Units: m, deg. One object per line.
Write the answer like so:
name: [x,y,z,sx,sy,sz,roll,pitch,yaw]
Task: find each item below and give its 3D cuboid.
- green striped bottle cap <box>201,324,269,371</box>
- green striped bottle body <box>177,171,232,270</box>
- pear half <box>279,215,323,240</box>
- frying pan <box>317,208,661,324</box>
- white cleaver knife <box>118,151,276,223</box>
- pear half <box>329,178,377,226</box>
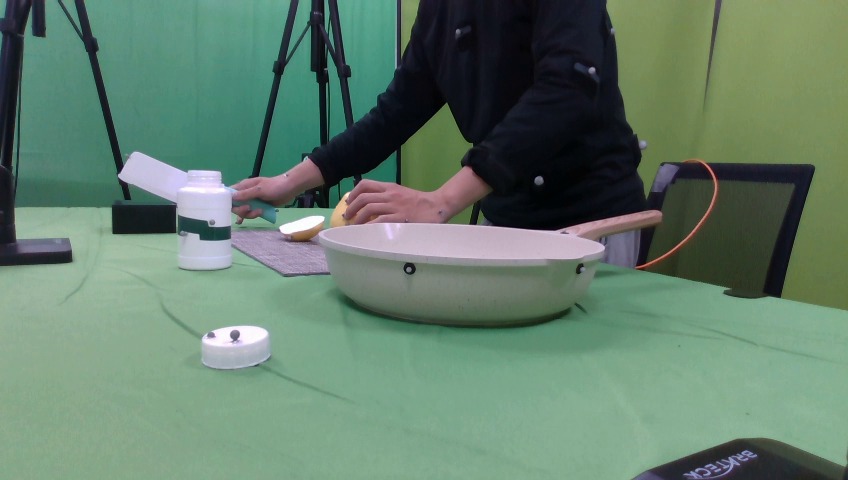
green striped bottle cap: [-0.129,0.073,0.415,0.044,0.020,0.044,2,8,0]
green striped bottle body: [-0.273,-0.026,0.752,0.063,0.119,0.063,2,7,0]
pear half: [-0.206,-0.017,1.018,0.087,0.031,0.070,-7,17,36]
frying pan: [0.121,0.006,0.691,0.490,0.102,0.305,-13,15,-33]
white cleaver knife: [-0.414,-0.085,1.133,0.288,0.066,0.021,22,-3,-28]
pear half: [-0.105,-0.042,0.945,0.077,0.110,0.055,-11,15,-42]
